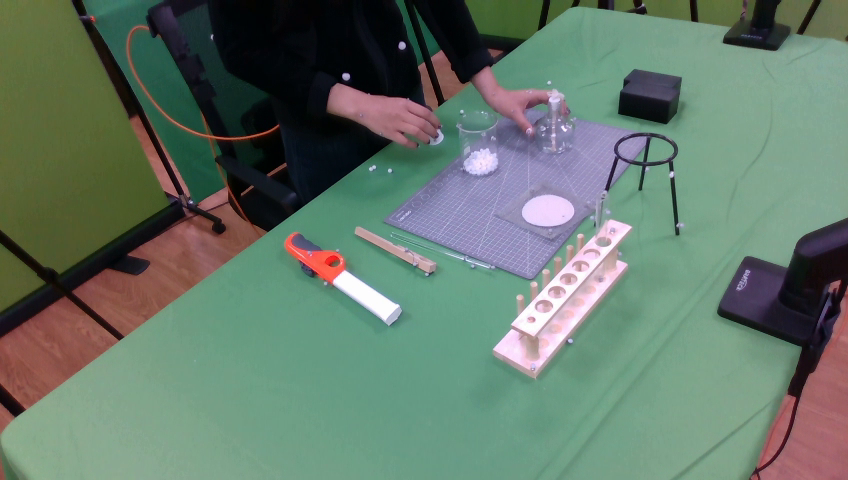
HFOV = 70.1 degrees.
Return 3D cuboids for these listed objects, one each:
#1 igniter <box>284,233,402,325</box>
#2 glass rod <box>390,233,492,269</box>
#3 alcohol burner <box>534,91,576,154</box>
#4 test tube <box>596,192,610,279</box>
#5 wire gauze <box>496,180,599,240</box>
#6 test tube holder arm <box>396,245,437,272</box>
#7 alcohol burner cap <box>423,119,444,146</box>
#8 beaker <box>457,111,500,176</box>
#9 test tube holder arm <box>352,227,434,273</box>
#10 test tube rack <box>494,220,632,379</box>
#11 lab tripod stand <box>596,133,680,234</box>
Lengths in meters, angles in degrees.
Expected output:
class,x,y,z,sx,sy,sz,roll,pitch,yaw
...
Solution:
class,x,y,z,sx,sy,sz,roll,pitch,yaw
igniter,-0.136,0.054,0.942,0.274,0.025,0.057,30,63,37
glass rod,0.023,0.017,0.971,0.198,0.008,0.008,18,48,32
alcohol burner,0.243,-0.222,1.124,0.078,0.119,0.077,-4,39,4
test tube,0.240,-0.002,0.814,0.017,0.151,0.017,-7,42,7
wire gauze,0.206,-0.050,1.012,0.125,0.011,0.120,-34,45,-26
test tube holder arm,-0.016,0.029,0.957,0.087,0.015,0.010,25,16,35
alcohol burner cap,0.015,-0.200,1.113,0.034,0.048,0.033,-11,52,15
beaker,0.104,-0.176,1.108,0.073,0.101,0.084,16,46,27
test tube holder arm,-0.053,0.014,0.978,0.177,0.015,0.013,25,16,34
test tube rack,0.191,0.068,0.818,0.066,0.085,0.243,25,51,35
lab tripod stand,0.338,-0.091,0.940,0.148,0.132,0.147,-7,39,6
